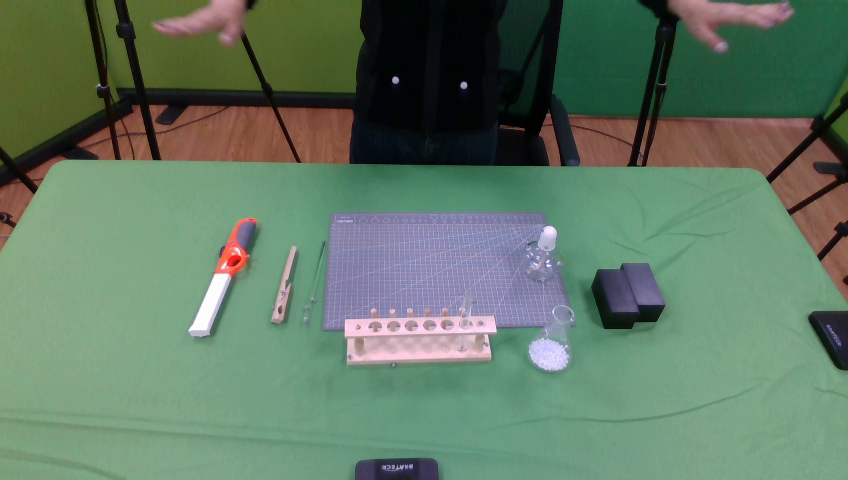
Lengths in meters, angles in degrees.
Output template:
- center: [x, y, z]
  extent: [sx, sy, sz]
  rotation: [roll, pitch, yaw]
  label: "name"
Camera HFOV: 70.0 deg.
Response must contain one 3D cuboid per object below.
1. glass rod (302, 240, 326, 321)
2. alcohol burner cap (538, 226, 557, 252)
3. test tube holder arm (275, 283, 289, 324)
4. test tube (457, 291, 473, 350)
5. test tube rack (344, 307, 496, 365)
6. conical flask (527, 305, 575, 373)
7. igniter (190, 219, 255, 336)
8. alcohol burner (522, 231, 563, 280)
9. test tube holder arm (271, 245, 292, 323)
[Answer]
- center: [-0.203, 0.071, 1.124]
  extent: [0.008, 0.008, 0.198]
  rotation: [5, 44, 1]
  label: "glass rod"
- center: [0.226, -0.004, 1.104]
  extent: [0.034, 0.048, 0.033]
  rotation: [-1, 49, 1]
  label: "alcohol burner cap"
- center: [-0.254, 0.111, 1.077]
  extent: [0.010, 0.015, 0.087]
  rotation: [30, 38, -27]
  label: "test tube holder arm"
- center: [0.064, 0.132, 0.965]
  extent: [0.017, 0.151, 0.017]
  rotation: [1, 48, -1]
  label: "test tube"
- center: [-0.009, 0.154, 1.007]
  extent: [0.242, 0.085, 0.066]
  rotation: [-1, 46, -5]
  label: "test tube rack"
- center: [0.215, 0.157, 0.996]
  extent: [0.075, 0.122, 0.075]
  rotation: [2, 46, -2]
  label: "conical flask"
- center: [-0.365, 0.058, 1.110]
  extent: [0.057, 0.025, 0.275]
  rotation: [-1, 45, 8]
  label: "igniter"
- center: [0.224, 0.020, 1.131]
  extent: [0.078, 0.119, 0.077]
  rotation: [4, 46, -4]
  label: "alcohol burner"
- center: [-0.259, 0.076, 1.106]
  extent: [0.013, 0.015, 0.177]
  rotation: [29, 38, -28]
  label: "test tube holder arm"
